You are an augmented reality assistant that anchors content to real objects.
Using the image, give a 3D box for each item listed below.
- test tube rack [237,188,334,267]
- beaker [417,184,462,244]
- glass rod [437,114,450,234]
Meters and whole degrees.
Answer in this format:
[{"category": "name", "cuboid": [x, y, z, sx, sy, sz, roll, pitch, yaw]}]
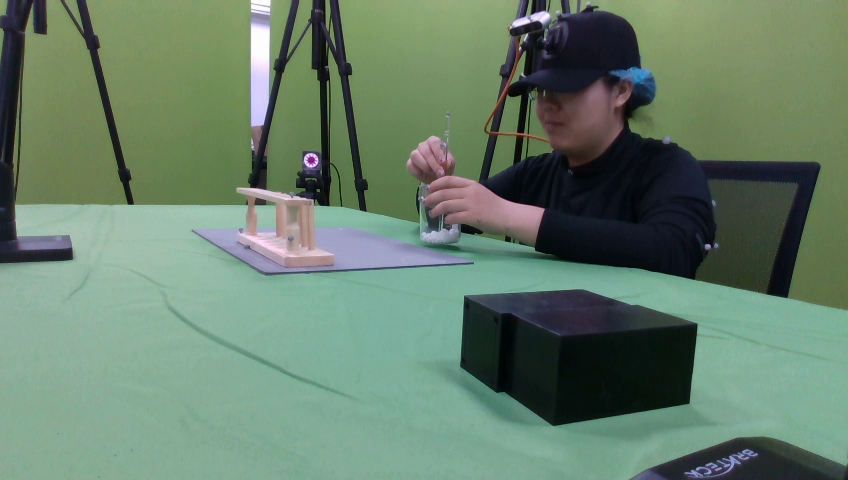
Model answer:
[{"category": "test tube rack", "cuboid": [-0.202, -0.024, 0.855, 0.067, 0.085, 0.241, -2, 8, -30]}, {"category": "beaker", "cuboid": [0.030, -0.044, 1.016, 0.083, 0.100, 0.074, 4, 7, 41]}, {"category": "glass rod", "cuboid": [0.033, -0.110, 1.008, 0.008, 0.199, 0.008, 5, 4, 0]}]
